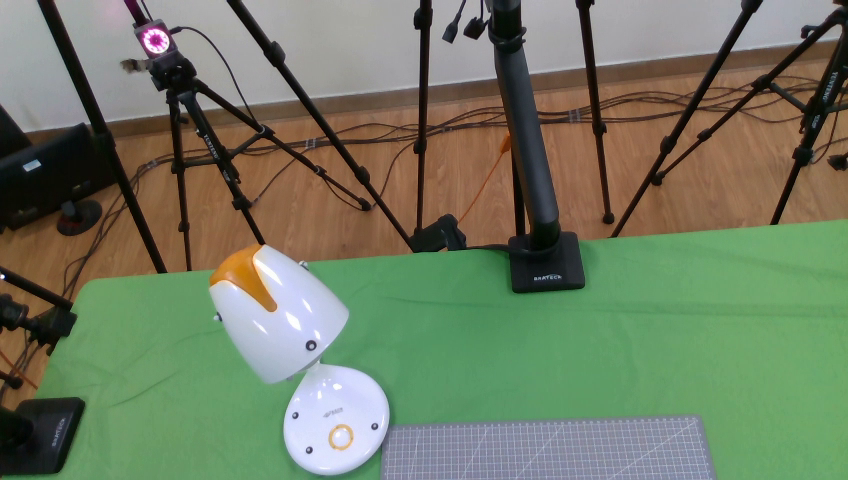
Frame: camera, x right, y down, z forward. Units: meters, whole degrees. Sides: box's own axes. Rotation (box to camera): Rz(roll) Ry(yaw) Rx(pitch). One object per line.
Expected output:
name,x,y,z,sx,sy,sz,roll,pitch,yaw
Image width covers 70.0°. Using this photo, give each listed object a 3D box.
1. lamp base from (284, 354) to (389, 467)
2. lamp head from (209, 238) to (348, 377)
lamp base,-0.149,0.205,0.855,0.161,0.182,0.177,-28,51,-11
lamp head,-0.155,0.058,0.611,0.112,0.123,0.112,-35,13,10
